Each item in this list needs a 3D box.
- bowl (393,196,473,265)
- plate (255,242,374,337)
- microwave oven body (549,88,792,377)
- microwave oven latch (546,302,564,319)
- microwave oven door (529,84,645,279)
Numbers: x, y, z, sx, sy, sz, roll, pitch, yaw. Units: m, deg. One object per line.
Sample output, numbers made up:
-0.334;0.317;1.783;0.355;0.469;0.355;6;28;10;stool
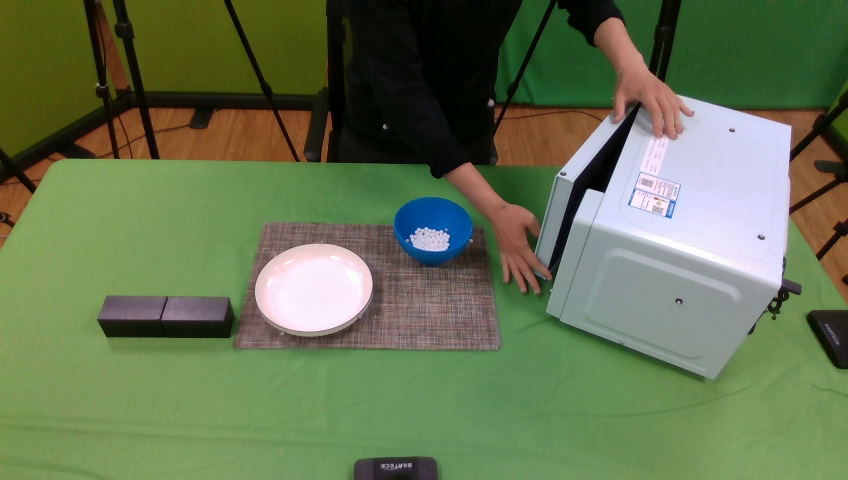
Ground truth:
0.014;-0.006;1.159;0.151;0.077;0.150;2;46;-2;bowl
-0.192;0.090;1.079;0.208;0.039;0.206;2;46;-2;plate
0.456;-0.028;1.088;0.325;0.261;0.440;20;47;16;microwave oven body
0.242;0.102;1.081;0.030;0.029;0.079;21;48;17;microwave oven latch
0.318;-0.118;1.158;0.039;0.245;0.355;28;50;21;microwave oven door
